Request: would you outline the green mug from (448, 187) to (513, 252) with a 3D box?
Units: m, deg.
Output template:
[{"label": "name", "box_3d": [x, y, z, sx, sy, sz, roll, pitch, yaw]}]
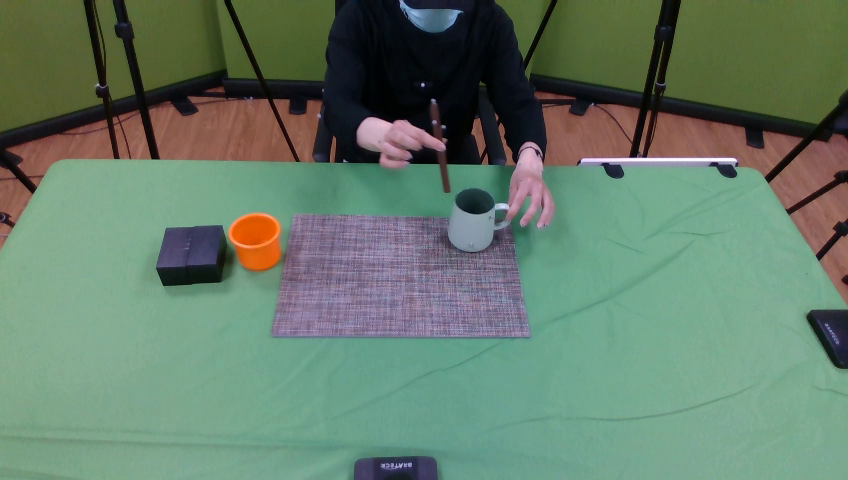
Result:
[{"label": "green mug", "box_3d": [0.111, -0.041, 1.179, 0.125, 0.105, 0.092, -7, 47, -10]}]

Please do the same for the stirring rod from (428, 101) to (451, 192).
[{"label": "stirring rod", "box_3d": [0.028, -0.160, 1.058, 0.014, 0.177, 0.006, -5, 35, 10]}]
